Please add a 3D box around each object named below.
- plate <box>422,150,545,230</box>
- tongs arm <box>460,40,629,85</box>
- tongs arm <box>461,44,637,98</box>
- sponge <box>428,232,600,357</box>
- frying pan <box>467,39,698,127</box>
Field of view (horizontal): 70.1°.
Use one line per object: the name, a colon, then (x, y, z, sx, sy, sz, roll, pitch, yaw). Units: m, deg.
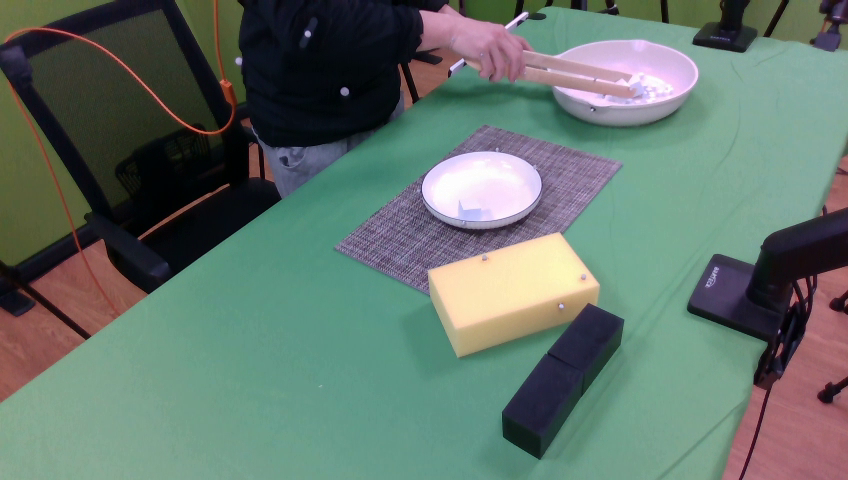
plate: (0.100, -0.082, 1.031, 0.207, 0.039, 0.206, -4, 40, 4)
tongs arm: (0.235, -0.322, 1.126, 0.390, 0.028, 0.028, 3, 50, -28)
tongs arm: (0.241, -0.306, 1.112, 0.388, 0.026, 0.050, -1, 49, -31)
sponge: (0.120, 0.071, 0.834, 0.207, 0.061, 0.117, -16, 43, -12)
frying pan: (0.312, -0.359, 1.277, 0.485, 0.103, 0.307, 23, 48, 19)
